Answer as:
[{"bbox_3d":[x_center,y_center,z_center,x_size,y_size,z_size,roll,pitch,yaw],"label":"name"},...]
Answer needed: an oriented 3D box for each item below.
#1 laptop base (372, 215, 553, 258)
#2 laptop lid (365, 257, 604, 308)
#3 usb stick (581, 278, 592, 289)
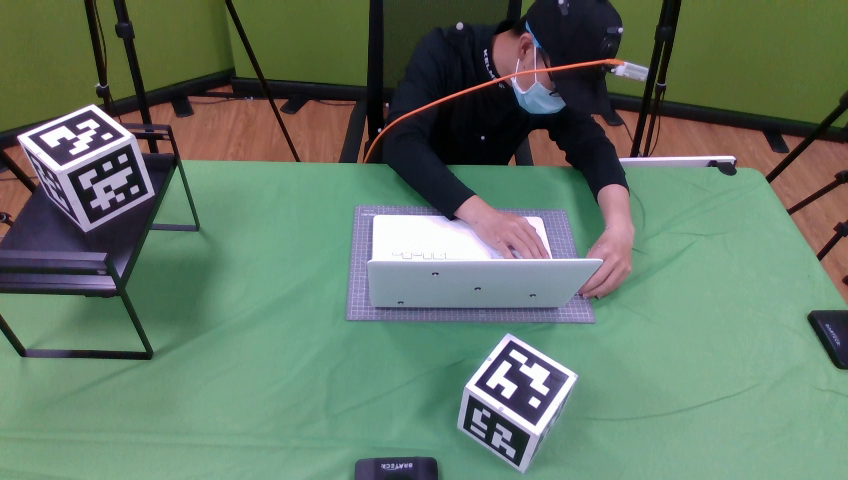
[{"bbox_3d":[0.075,0.037,1.168,0.355,0.023,0.234,0,43,-4],"label":"laptop base"},{"bbox_3d":[0.085,0.073,0.978,0.357,0.242,0.013,1,67,-5],"label":"laptop lid"},{"bbox_3d":[0.279,0.079,1.121,0.059,0.027,0.021,-13,52,-7],"label":"usb stick"}]
